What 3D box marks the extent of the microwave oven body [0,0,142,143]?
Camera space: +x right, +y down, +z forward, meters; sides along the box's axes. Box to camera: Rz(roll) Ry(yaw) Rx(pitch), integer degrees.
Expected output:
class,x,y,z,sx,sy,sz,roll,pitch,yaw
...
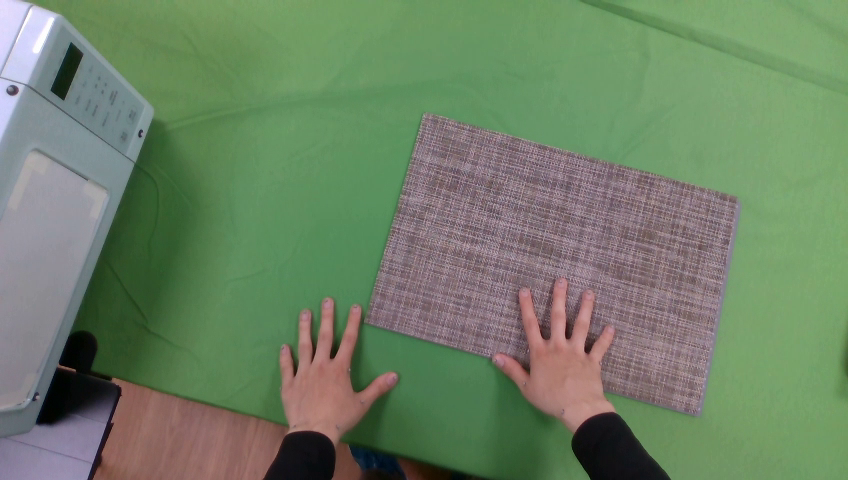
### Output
class,x,y,z,sx,sy,sz,roll,pitch,yaw
microwave oven body,-0.568,-0.048,0.658,0.326,0.260,0.440,16,81,0

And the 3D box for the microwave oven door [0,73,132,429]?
class,x,y,z,sx,sy,sz,roll,pitch,yaw
microwave oven door,-0.439,0.031,0.647,0.039,0.244,0.354,16,81,1

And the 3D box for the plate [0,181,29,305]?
class,x,y,z,sx,sy,sz,roll,pitch,yaw
plate,-0.566,0.008,0.708,0.209,0.038,0.208,1,83,-4

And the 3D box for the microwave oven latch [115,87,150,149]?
class,x,y,z,sx,sy,sz,roll,pitch,yaw
microwave oven latch,-0.381,-0.159,0.781,0.030,0.029,0.079,18,82,0
